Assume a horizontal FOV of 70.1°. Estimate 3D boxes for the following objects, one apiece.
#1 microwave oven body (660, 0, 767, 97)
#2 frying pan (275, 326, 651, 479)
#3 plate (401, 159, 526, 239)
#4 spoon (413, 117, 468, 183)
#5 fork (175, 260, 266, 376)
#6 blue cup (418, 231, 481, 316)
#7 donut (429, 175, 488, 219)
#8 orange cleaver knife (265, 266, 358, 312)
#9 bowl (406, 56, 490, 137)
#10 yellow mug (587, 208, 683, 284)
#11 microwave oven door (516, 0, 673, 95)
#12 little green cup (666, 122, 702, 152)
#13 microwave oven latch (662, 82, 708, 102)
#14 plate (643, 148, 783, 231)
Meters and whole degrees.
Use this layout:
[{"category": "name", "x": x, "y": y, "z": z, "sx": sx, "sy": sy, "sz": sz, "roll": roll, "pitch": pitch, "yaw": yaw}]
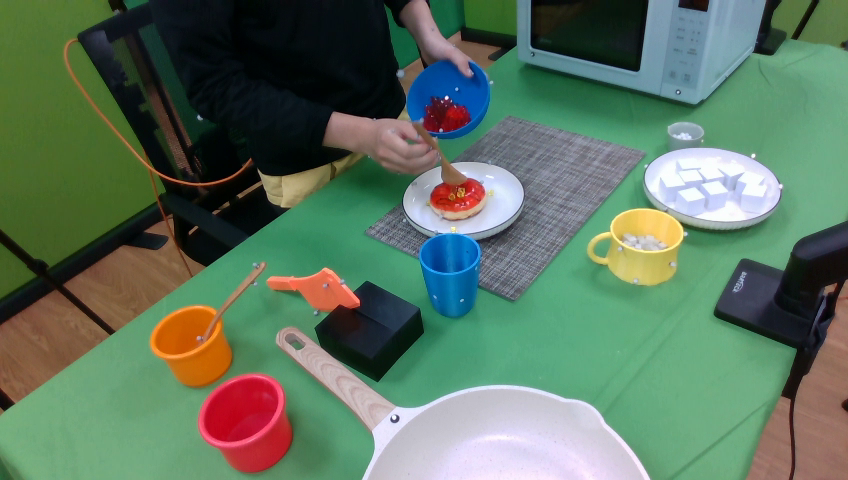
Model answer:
[{"category": "microwave oven body", "x": 0.473, "y": -0.516, "z": 1.313, "sx": 0.438, "sy": 0.261, "sz": 0.327, "roll": 26, "pitch": 51, "yaw": 34}, {"category": "frying pan", "x": 0.004, "y": 0.229, "z": 0.641, "sx": 0.484, "sy": 0.103, "sz": 0.308, "roll": 34, "pitch": 54, "yaw": 28}, {"category": "plate", "x": 0.067, "y": -0.065, "z": 1.019, "sx": 0.209, "sy": 0.038, "sz": 0.208, "roll": -4, "pitch": 40, "yaw": 4}, {"category": "spoon", "x": 0.021, "y": -0.130, "z": 0.902, "sx": 0.041, "sy": 0.195, "sz": 0.021, "roll": -3, "pitch": 64, "yaw": 22}, {"category": "fork", "x": -0.268, "y": 0.103, "z": 0.792, "sx": 0.207, "sy": 0.019, "sz": 0.028, "roll": -51, "pitch": 41, "yaw": 16}, {"category": "blue cup", "x": 0.040, "y": 0.053, "z": 0.843, "sx": 0.092, "sy": 0.100, "sz": 0.092, "roll": -4, "pitch": 43, "yaw": 4}, {"category": "donut", "x": 0.058, "y": -0.075, "z": 1.015, "sx": 0.099, "sy": 0.048, "sz": 0.098, "roll": -6, "pitch": 38, "yaw": 5}, {"category": "orange cleaver knife", "x": -0.164, "y": 0.073, "z": 0.864, "sx": 0.210, "sy": 0.077, "sz": 0.012, "roll": -6, "pitch": 30, "yaw": 50}, {"category": "bowl", "x": 0.050, "y": -0.238, "z": 1.067, "sx": 0.151, "sy": 0.077, "sz": 0.151, "roll": -6, "pitch": 69, "yaw": 16}, {"category": "yellow mug", "x": 0.305, "y": 0.009, "z": 0.884, "sx": 0.131, "sy": 0.064, "sz": 0.099, "roll": -4, "pitch": 41, "yaw": 5}, {"category": "microwave oven door", "x": 0.344, "y": -0.458, "z": 1.256, "sx": 0.353, "sy": 0.245, "sz": 0.039, "roll": 26, "pitch": 51, "yaw": 33}, {"category": "little green cup", "x": 0.471, "y": -0.184, "z": 1.102, "sx": 0.061, "sy": 0.039, "sz": 0.061, "roll": -5, "pitch": 40, "yaw": 4}, {"category": "microwave oven latch", "x": 0.518, "y": -0.298, "z": 1.202, "sx": 0.078, "sy": 0.029, "sz": 0.030, "roll": 28, "pitch": 53, "yaw": 35}, {"category": "plate", "x": 0.464, "y": -0.080, "z": 0.986, "sx": 0.207, "sy": 0.039, "sz": 0.206, "roll": -4, "pitch": 40, "yaw": 4}]
